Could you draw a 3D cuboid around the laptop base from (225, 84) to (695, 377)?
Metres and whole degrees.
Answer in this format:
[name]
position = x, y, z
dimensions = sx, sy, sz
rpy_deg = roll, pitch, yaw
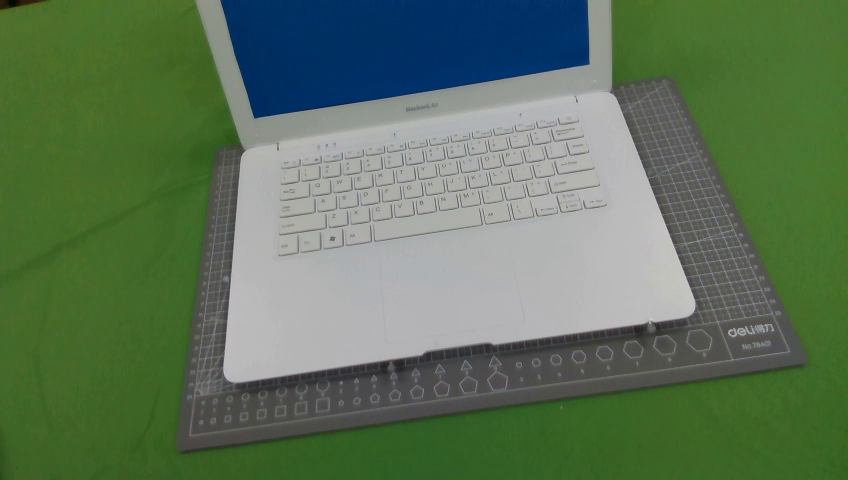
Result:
[laptop base]
position = 0.014, -0.018, 0.510
dimensions = 0.354, 0.023, 0.233
rpy_deg = -9, 60, 2

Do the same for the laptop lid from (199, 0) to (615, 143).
[laptop lid]
position = -0.015, -0.215, 0.516
dimensions = 0.357, 0.243, 0.013
rpy_deg = -10, 29, 3
